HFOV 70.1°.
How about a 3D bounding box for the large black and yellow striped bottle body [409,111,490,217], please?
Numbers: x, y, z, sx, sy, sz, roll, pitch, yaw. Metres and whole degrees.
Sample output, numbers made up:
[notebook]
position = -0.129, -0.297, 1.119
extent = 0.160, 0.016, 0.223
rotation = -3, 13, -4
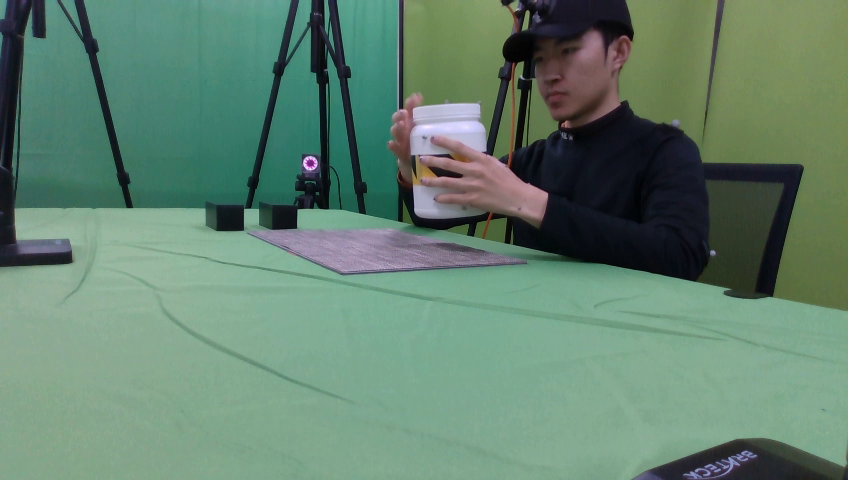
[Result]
[large black and yellow striped bottle body]
position = 0.043, -0.138, 1.031
extent = 0.131, 0.184, 0.130
rotation = -4, 9, 1

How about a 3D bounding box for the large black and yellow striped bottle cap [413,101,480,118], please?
[large black and yellow striped bottle cap]
position = 0.037, -0.219, 1.016
extent = 0.115, 0.019, 0.115
rotation = -4, 8, 1
